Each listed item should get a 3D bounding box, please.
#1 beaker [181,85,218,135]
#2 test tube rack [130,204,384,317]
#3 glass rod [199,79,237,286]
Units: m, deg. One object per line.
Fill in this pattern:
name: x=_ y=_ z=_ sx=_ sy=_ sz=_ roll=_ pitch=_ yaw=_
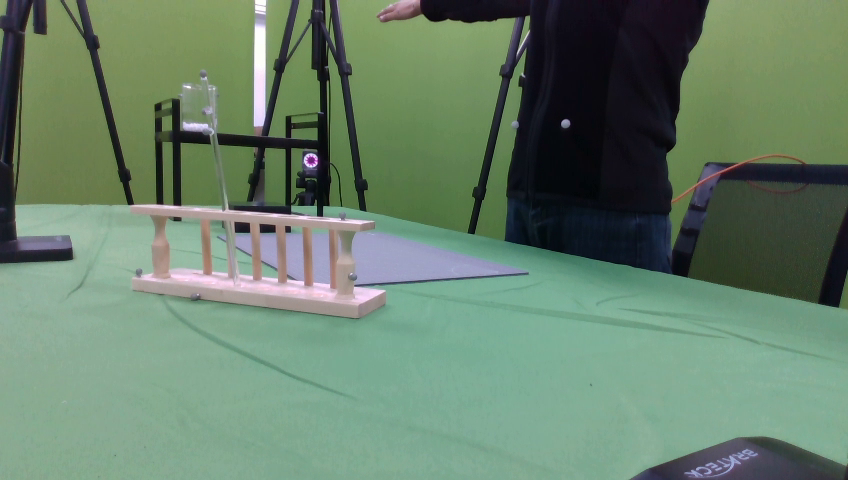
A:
beaker: x=-0.476 y=-0.276 z=1.290 sx=0.074 sy=0.100 sz=0.083 roll=-4 pitch=10 yaw=-36
test tube rack: x=-0.163 y=0.013 z=0.589 sx=0.242 sy=0.085 sz=0.067 roll=4 pitch=9 yaw=17
glass rod: x=-0.194 y=-0.050 z=0.569 sx=0.008 sy=0.199 sz=0.008 roll=-6 pitch=7 yaw=1
